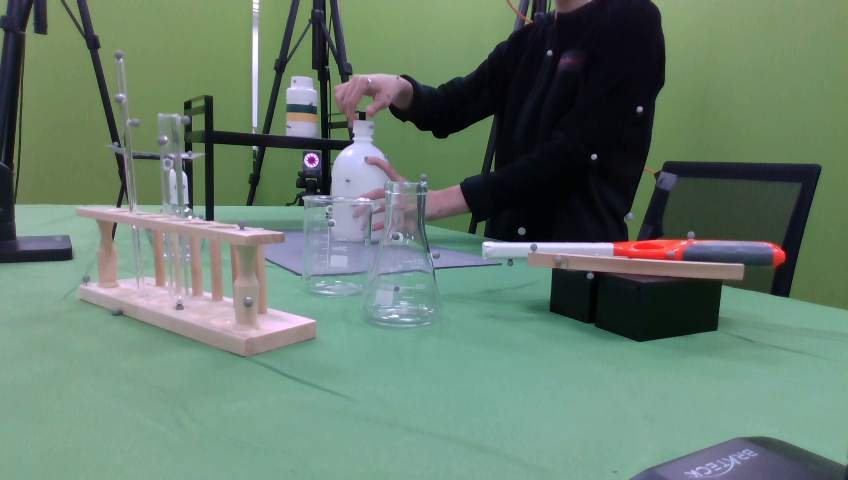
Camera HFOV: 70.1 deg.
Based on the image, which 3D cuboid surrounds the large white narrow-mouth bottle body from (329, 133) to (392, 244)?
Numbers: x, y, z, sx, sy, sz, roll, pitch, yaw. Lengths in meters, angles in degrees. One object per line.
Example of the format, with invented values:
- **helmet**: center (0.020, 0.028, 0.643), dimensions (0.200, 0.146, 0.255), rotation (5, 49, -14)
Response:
- **large white narrow-mouth bottle body**: center (-0.106, -0.095, 1.027), dimensions (0.102, 0.194, 0.102), rotation (4, 7, 0)

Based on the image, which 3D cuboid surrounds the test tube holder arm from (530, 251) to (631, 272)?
- **test tube holder arm**: center (0.139, 0.019, 0.538), dimensions (0.087, 0.015, 0.010), rotation (3, 6, 13)

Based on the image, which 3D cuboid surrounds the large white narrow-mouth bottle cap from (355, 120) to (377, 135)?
- **large white narrow-mouth bottle cap**: center (-0.098, -0.189, 1.015), dimensions (0.038, 0.024, 0.037), rotation (4, 7, 0)

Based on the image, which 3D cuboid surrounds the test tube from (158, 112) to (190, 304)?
- **test tube**: center (-0.194, -0.022, 0.469), dimensions (0.017, 0.150, 0.017), rotation (2, 12, 0)

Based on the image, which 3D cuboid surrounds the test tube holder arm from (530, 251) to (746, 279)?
- **test tube holder arm**: center (0.182, 0.022, 0.523), dimensions (0.178, 0.015, 0.013), rotation (3, 6, 12)

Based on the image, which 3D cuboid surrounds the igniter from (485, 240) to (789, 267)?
- **igniter**: center (0.197, 0.012, 0.585), dimensions (0.276, 0.025, 0.057), rotation (1, 5, 12)

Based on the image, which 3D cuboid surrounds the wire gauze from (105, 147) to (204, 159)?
- **wire gauze**: center (-0.407, -0.131, 0.929), dimensions (0.125, 0.011, 0.121), rotation (2, 6, -11)

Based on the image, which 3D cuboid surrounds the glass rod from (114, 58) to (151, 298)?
- **glass rod**: center (-0.236, -0.044, 0.492), dimensions (0.008, 0.199, 0.008), rotation (0, 15, 0)

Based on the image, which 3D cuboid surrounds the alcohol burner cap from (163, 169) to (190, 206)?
- **alcohol burner cap**: center (-0.320, -0.067, 0.782), dimensions (0.034, 0.048, 0.034), rotation (1, 7, 0)

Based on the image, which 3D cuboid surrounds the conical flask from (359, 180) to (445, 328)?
- **conical flask**: center (-0.017, 0.010, 0.522), dimensions (0.075, 0.122, 0.075), rotation (2, 7, 0)

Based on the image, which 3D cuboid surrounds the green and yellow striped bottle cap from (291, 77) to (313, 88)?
- **green and yellow striped bottle cap**: center (-0.250, -0.321, 1.238), dimensions (0.045, 0.020, 0.045), rotation (3, 6, 0)

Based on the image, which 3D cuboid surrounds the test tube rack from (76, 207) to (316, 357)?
- **test tube rack**: center (-0.196, 0.023, 0.500), dimensions (0.241, 0.085, 0.067), rotation (8, 9, 36)

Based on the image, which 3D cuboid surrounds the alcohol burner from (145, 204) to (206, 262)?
- **alcohol burner**: center (-0.321, -0.032, 0.788), dimensions (0.078, 0.119, 0.078), rotation (1, 7, 0)

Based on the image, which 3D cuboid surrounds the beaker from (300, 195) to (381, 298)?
- **beaker**: center (-0.087, 0.006, 0.626), dimensions (0.084, 0.100, 0.074), rotation (1, 8, -17)

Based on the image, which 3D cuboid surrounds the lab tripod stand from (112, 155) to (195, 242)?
- **lab tripod stand**: center (-0.405, -0.064, 0.931), dimensions (0.148, 0.131, 0.148), rotation (1, 7, 0)

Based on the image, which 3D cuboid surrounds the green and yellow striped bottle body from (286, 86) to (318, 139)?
- **green and yellow striped bottle body**: center (-0.251, -0.270, 1.245), dimensions (0.063, 0.119, 0.063), rotation (2, 7, 0)
